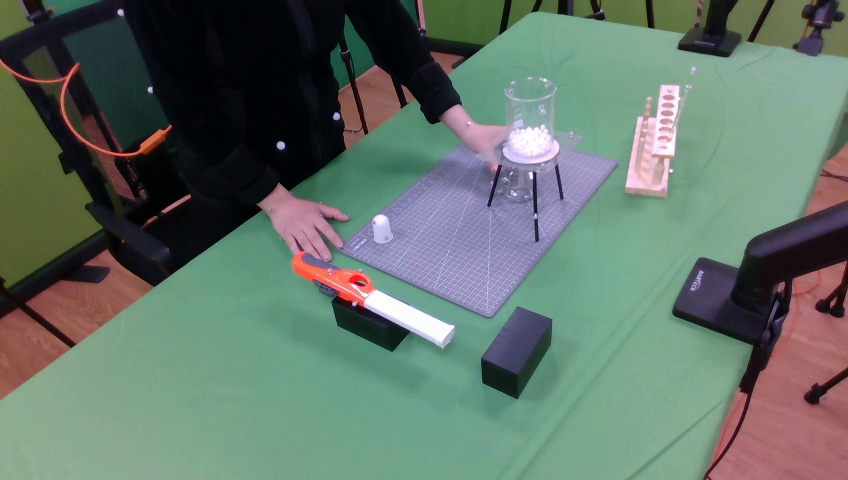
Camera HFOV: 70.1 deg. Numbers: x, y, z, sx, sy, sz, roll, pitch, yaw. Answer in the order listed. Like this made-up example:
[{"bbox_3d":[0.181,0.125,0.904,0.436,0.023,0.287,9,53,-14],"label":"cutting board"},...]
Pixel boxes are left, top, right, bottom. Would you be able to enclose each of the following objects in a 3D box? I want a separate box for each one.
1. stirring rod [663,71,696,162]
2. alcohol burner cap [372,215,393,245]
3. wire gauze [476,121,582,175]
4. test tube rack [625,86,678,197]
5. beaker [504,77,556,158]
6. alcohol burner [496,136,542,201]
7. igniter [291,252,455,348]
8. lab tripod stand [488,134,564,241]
[{"bbox_3d":[0.410,-0.195,0.981,0.014,0.177,0.006,11,50,13],"label":"stirring rod"},{"bbox_3d":[-0.070,-0.019,0.990,0.034,0.048,0.033,-4,40,4],"label":"alcohol burner cap"},{"bbox_3d":[0.162,-0.142,0.929,0.120,0.011,0.125,19,49,32],"label":"wire gauze"},{"bbox_3d":[0.412,-0.184,1.088,0.066,0.085,0.242,9,43,18],"label":"test tube rack"},{"bbox_3d":[0.160,-0.181,0.900,0.084,0.101,0.073,-32,46,-27],"label":"beaker"},{"bbox_3d":[0.161,-0.126,1.028,0.078,0.119,0.077,-5,42,5],"label":"alcohol burner"},{"bbox_3d":[-0.080,0.076,0.822,0.274,0.025,0.057,23,46,27],"label":"igniter"},{"bbox_3d":[0.168,-0.092,0.972,0.148,0.132,0.147,-5,41,5],"label":"lab tripod stand"}]
